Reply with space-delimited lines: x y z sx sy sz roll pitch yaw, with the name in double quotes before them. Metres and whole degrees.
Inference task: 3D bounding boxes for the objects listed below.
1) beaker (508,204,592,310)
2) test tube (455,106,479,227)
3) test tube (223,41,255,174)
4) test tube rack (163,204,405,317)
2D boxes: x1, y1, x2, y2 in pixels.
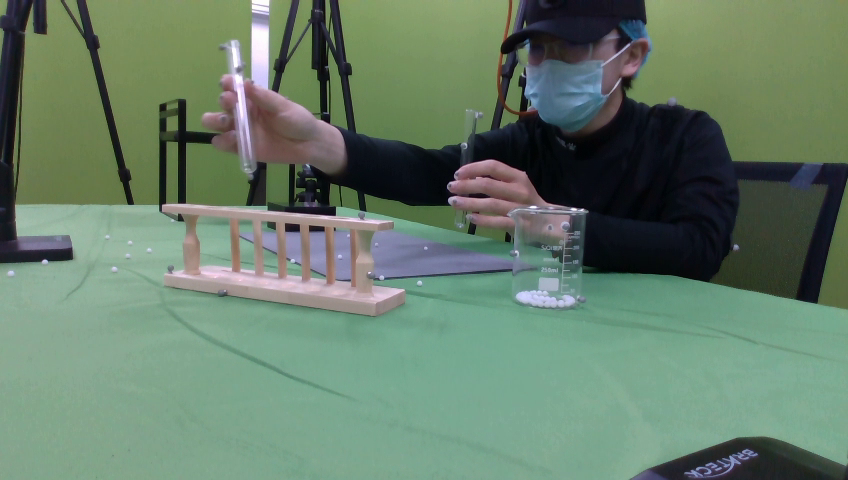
"beaker" 0.125 0.016 0.613 0.084 0.100 0.074 1 7 -5
"test tube" 0.053 -0.091 0.752 0.017 0.150 0.017 5 11 -1
"test tube" -0.191 -0.138 0.625 0.017 0.150 0.017 -11 -14 -3
"test tube rack" -0.141 0.013 0.601 0.241 0.085 0.067 5 8 21
